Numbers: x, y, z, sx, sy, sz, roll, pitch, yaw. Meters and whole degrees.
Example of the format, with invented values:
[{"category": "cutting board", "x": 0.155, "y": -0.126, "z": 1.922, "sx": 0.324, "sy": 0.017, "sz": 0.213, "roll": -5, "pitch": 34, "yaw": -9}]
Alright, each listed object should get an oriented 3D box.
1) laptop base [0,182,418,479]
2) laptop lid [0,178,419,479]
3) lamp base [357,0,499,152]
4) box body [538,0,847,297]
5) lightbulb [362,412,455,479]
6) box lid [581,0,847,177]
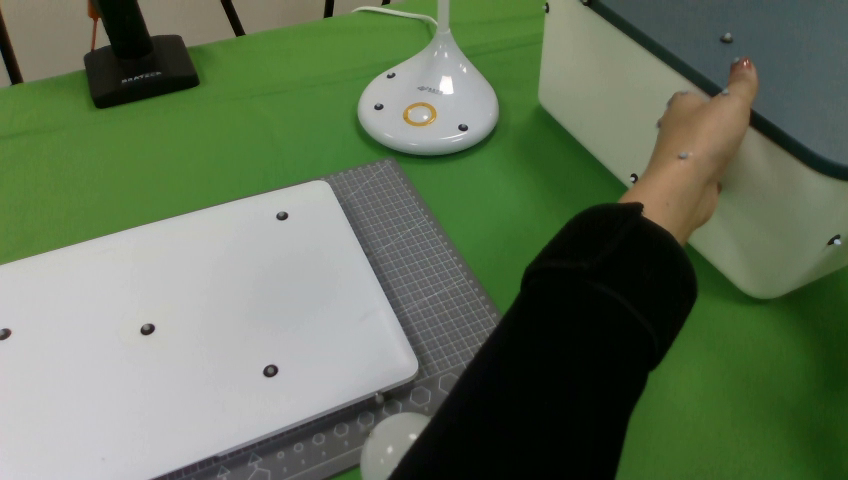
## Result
[{"category": "laptop base", "x": -0.208, "y": 0.077, "z": 0.474, "sx": 0.355, "sy": 0.023, "sz": 0.233, "roll": -18, "pitch": 53, "yaw": -17}, {"category": "laptop lid", "x": -0.207, "y": 0.070, "z": 0.463, "sx": 0.357, "sy": 0.013, "sz": 0.239, "roll": -17, "pitch": 52, "yaw": -15}, {"category": "lamp base", "x": 0.006, "y": -0.214, "z": 0.637, "sx": 0.160, "sy": 0.182, "sz": 0.177, "roll": 7, "pitch": 45, "yaw": 7}, {"category": "box body", "x": 0.305, "y": -0.142, "z": 0.586, "sx": 0.254, "sy": 0.162, "sz": 0.360, "roll": -20, "pitch": 50, "yaw": -18}, {"category": "lightbulb", "x": -0.002, "y": 0.161, "z": 0.378, "sx": 0.059, "sy": 0.060, "sz": 0.106, "roll": -15, "pitch": 65, "yaw": -14}, {"category": "box lid", "x": 0.305, "y": -0.196, "z": 0.532, "sx": 0.264, "sy": 0.015, "sz": 0.367, "roll": -19, "pitch": 50, "yaw": -19}]
